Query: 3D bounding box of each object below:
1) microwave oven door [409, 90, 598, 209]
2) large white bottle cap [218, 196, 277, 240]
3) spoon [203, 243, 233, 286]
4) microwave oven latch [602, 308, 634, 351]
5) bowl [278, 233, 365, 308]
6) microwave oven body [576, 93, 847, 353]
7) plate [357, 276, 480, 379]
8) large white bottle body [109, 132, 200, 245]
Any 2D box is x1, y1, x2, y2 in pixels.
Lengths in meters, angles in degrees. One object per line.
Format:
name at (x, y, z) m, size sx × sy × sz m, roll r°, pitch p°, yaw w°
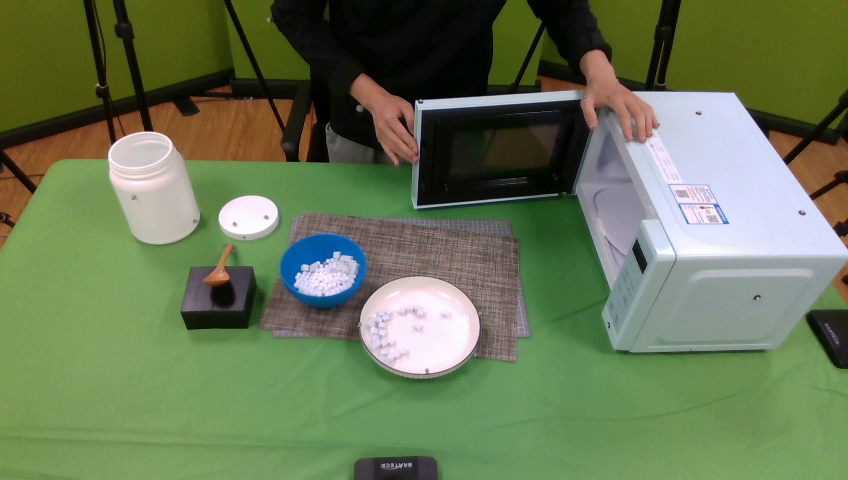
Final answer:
microwave oven door at (0.151, -0.178, 1.211) m, size 0.356 × 0.245 × 0.039 m, roll -6°, pitch 46°, yaw -10°
large white bottle cap at (-0.355, -0.045, 1.220) m, size 0.115 × 0.018 × 0.114 m, roll 2°, pitch 45°, yaw -2°
spoon at (-0.360, 0.039, 1.087) m, size 0.041 × 0.022 × 0.192 m, roll -5°, pitch 24°, yaw -7°
microwave oven latch at (0.332, 0.153, 1.044) m, size 0.030 × 0.029 × 0.078 m, roll 0°, pitch 45°, yaw -4°
bowl at (-0.179, 0.068, 1.076) m, size 0.151 × 0.077 × 0.150 m, roll 3°, pitch 46°, yaw -3°
microwave oven body at (0.475, -0.041, 1.109) m, size 0.326 × 0.261 × 0.438 m, roll -1°, pitch 45°, yaw -4°
plate at (-0.010, 0.151, 1.038) m, size 0.209 × 0.038 × 0.208 m, roll 2°, pitch 47°, yaw -2°
large white bottle body at (-0.506, -0.097, 1.141) m, size 0.131 × 0.185 × 0.130 m, roll 2°, pitch 46°, yaw -2°
